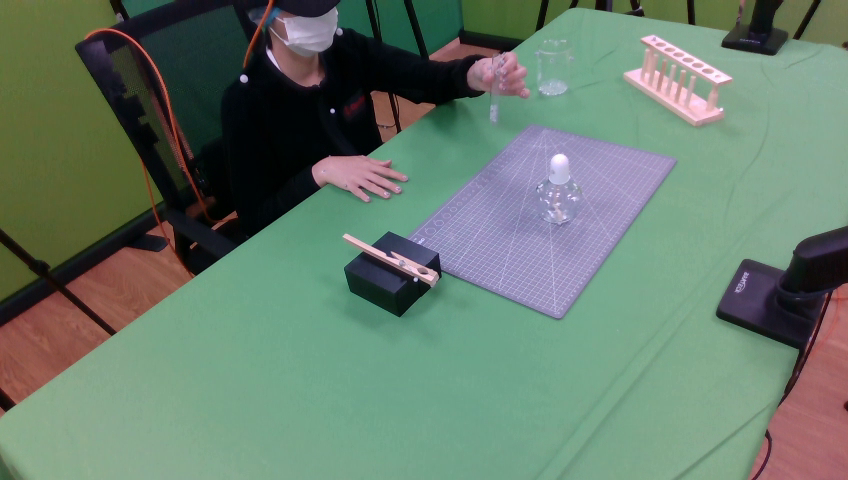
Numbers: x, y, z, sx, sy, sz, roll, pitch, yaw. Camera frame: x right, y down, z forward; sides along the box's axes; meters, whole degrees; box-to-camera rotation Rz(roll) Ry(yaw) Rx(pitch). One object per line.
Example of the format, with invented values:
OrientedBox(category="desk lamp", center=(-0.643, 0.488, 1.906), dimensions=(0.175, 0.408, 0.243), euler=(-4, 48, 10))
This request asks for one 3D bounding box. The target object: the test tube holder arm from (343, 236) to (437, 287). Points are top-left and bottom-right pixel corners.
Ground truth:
OrientedBox(category="test tube holder arm", center=(-0.054, 0.029, 0.879), dimensions=(0.177, 0.015, 0.013), euler=(22, 56, 32))

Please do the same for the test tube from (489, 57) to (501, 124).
OrientedBox(category="test tube", center=(0.120, -0.250, 1.025), dimensions=(0.017, 0.151, 0.017), euler=(-2, 59, 3))

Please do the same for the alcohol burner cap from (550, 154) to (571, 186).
OrientedBox(category="alcohol burner cap", center=(0.212, -0.112, 0.944), dimensions=(0.034, 0.048, 0.033), euler=(-6, 44, 7))

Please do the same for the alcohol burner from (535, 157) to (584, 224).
OrientedBox(category="alcohol burner", center=(0.217, -0.085, 0.967), dimensions=(0.078, 0.119, 0.077), euler=(-3, 41, 3))

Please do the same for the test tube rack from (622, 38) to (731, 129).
OrientedBox(category="test tube rack", center=(0.506, -0.325, 1.234), dimensions=(0.067, 0.085, 0.240), euler=(-18, 41, -11))

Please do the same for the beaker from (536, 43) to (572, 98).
OrientedBox(category="beaker", center=(0.280, -0.368, 1.311), dimensions=(0.074, 0.101, 0.084), euler=(4, 41, 14))

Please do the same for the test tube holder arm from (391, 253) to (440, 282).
OrientedBox(category="test tube holder arm", center=(-0.015, 0.039, 0.858), dimensions=(0.087, 0.015, 0.010), euler=(22, 57, 32))
